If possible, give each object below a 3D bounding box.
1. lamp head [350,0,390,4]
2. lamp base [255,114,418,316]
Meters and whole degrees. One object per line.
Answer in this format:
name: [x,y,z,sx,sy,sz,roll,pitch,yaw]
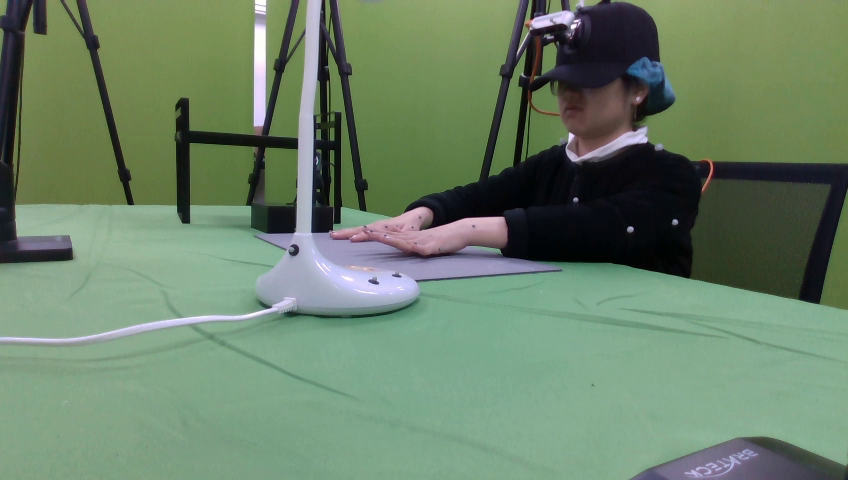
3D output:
lamp head: [-0.053,-0.313,0.597,0.112,0.112,0.123,6,-28,25]
lamp base: [-0.086,-0.027,0.577,0.160,0.180,0.179,4,10,16]
